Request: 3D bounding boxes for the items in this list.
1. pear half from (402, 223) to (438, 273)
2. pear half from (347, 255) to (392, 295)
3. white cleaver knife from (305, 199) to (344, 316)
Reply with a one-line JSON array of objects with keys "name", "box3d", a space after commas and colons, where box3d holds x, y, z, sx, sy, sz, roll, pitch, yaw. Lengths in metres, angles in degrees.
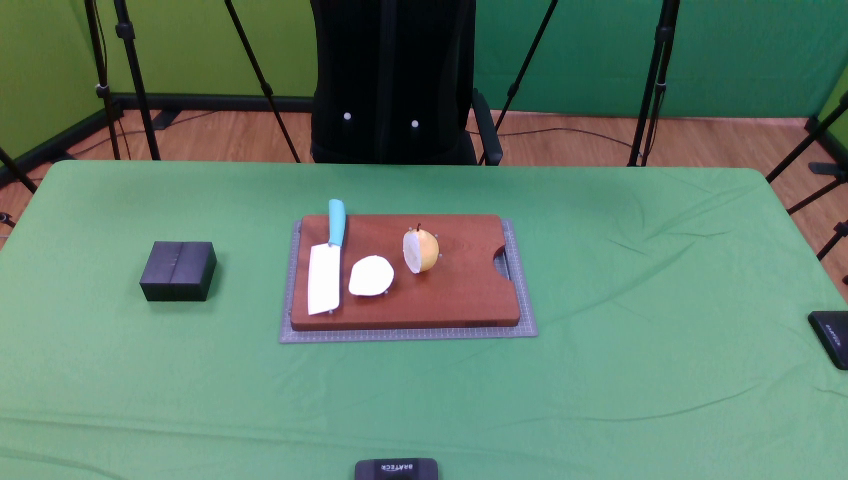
[{"name": "pear half", "box3d": [-0.003, 0.005, 1.093, 0.056, 0.110, 0.076, -24, 56, -25]}, {"name": "pear half", "box3d": [-0.099, 0.069, 1.076, 0.088, 0.031, 0.070, -39, 75, -18]}, {"name": "white cleaver knife", "box3d": [-0.185, 0.022, 1.123, 0.066, 0.021, 0.284, -7, 45, 3]}]
